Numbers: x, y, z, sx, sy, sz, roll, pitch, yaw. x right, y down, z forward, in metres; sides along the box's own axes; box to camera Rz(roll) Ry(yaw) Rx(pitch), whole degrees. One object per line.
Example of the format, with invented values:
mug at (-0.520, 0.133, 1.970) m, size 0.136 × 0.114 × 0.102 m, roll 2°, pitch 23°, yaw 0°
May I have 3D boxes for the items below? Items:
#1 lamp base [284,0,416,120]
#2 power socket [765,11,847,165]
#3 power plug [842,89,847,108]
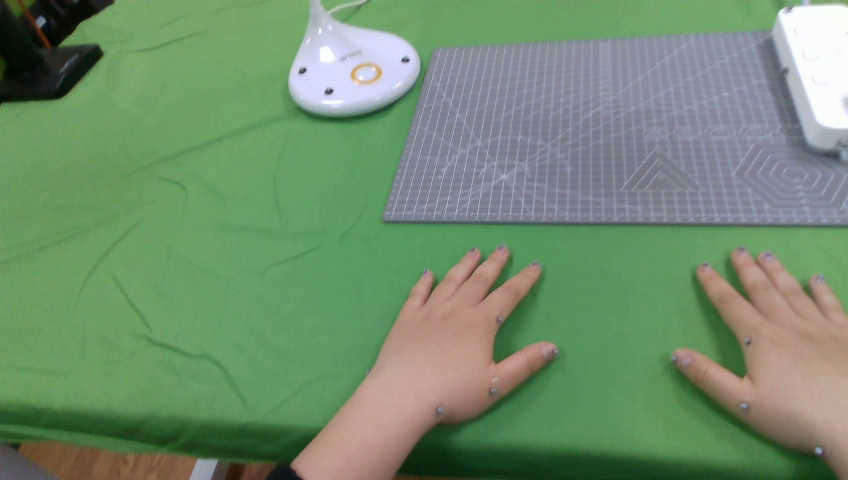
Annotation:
lamp base at (-0.109, -0.254, 0.681) m, size 0.160 × 0.182 × 0.177 m, roll -36°, pitch 48°, yaw -21°
power socket at (0.386, -0.157, 0.584) m, size 0.072 × 0.033 × 0.225 m, roll 3°, pitch 48°, yaw 13°
power plug at (0.397, -0.118, 0.512) m, size 0.072 × 0.053 × 0.035 m, roll 11°, pitch 50°, yaw 20°
